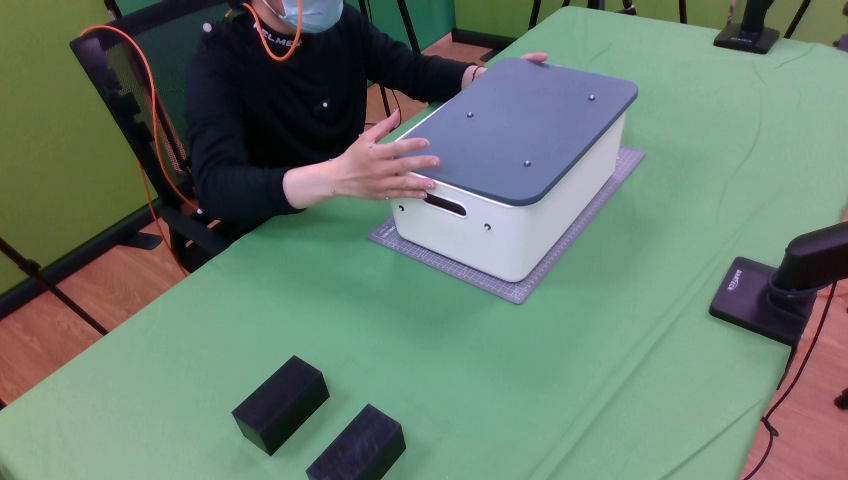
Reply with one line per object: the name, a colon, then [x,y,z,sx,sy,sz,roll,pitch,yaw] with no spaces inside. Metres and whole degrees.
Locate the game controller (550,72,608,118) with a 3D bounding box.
game controller: [0.326,-0.306,1.260,0.096,0.052,0.155,13,45,17]

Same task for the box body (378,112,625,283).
box body: [0.137,-0.121,0.978,0.252,0.161,0.365,22,48,30]

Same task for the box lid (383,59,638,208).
box lid: [0.141,-0.182,0.927,0.261,0.015,0.372,22,49,30]
